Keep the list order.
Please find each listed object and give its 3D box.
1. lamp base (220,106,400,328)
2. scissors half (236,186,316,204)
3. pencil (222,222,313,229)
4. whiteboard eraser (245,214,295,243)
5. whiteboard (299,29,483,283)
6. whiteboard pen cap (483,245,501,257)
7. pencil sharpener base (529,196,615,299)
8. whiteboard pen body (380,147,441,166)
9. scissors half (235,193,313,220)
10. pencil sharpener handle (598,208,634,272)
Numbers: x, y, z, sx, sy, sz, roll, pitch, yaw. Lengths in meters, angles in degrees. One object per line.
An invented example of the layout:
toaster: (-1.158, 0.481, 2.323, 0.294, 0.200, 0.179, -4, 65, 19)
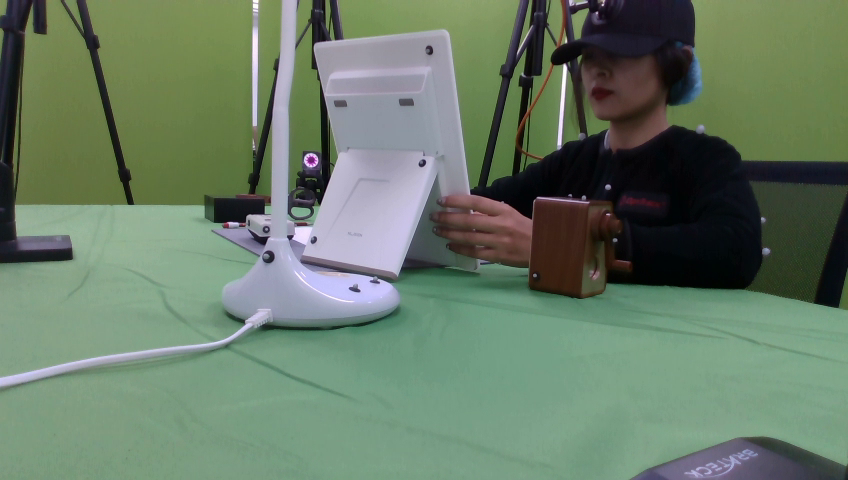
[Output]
lamp base: (-0.101, -0.023, 0.531, 0.160, 0.180, 0.179, 4, 10, 10)
scissors half: (-0.320, -0.097, 1.316, 0.176, 0.040, 0.013, -3, 11, -29)
pencil: (-0.302, -0.030, 1.189, 0.195, 0.012, 0.012, -2, 9, -42)
whiteboard eraser: (-0.247, -0.018, 0.965, 0.056, 0.042, 0.112, 0, 8, -28)
whiteboard: (-0.074, -0.082, 0.742, 0.216, 0.305, 0.144, 9, 29, 37)
whiteboard pen cap: (0.104, 0.017, 0.936, 0.018, 0.018, 0.033, -1, 4, -21)
pencil sharpener base: (0.168, 0.007, 0.678, 0.076, 0.107, 0.062, 10, 10, 42)
whiteboard pen body: (-0.019, -0.121, 0.868, 0.017, 0.017, 0.141, 8, 4, 35)
scissors half: (-0.324, -0.077, 1.319, 0.176, 0.040, 0.012, 17, 6, -31)
pencil sharpener handle: (0.208, 0.000, 0.644, 0.030, 0.068, 0.036, 10, 23, 42)
